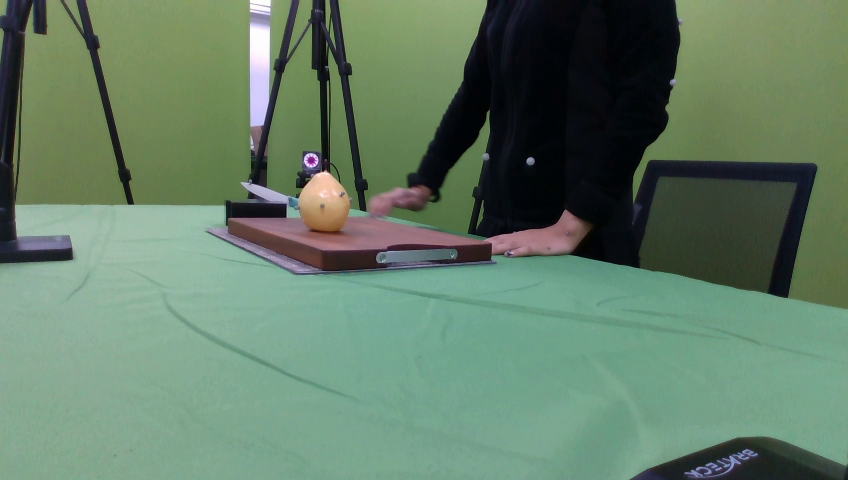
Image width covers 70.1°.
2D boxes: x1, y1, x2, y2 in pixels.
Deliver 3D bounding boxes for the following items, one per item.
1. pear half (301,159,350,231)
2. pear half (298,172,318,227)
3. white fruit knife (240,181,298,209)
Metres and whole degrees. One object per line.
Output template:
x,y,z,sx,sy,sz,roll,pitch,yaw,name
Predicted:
-0.143,-0.068,0.917,0.055,0.110,0.077,8,12,34,pear half
-0.172,-0.062,0.938,0.031,0.088,0.071,8,14,34,pear half
-0.269,-0.077,1.213,0.208,0.027,0.016,22,5,-28,white fruit knife
